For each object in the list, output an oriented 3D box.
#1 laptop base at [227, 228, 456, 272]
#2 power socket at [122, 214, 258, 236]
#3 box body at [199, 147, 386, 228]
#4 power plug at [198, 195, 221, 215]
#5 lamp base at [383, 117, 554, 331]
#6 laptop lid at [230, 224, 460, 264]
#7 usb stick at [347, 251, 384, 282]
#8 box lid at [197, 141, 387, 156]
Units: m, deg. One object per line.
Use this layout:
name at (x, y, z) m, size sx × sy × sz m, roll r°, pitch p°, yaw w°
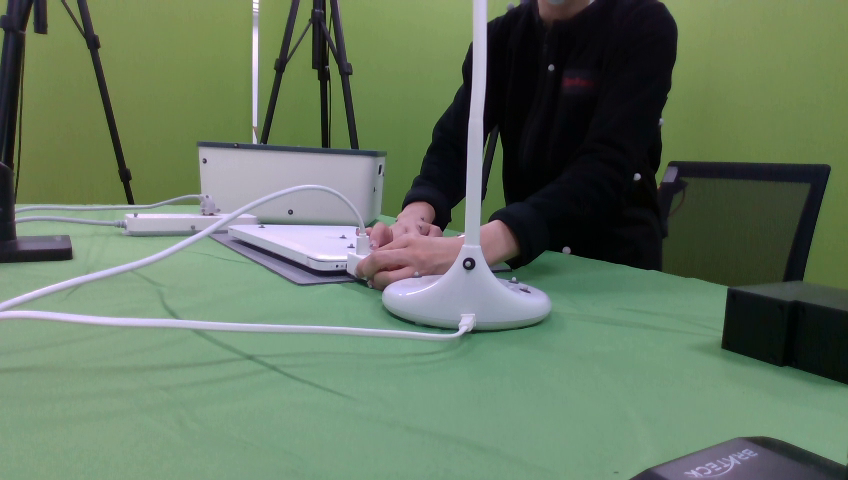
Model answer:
laptop base at (-0.122, 0.012, 0.889) m, size 0.237 × 0.023 × 0.352 m, roll 2°, pitch 6°, yaw -35°
power socket at (-0.399, -0.028, 1.049) m, size 0.228 × 0.032 × 0.072 m, roll -3°, pitch 8°, yaw -34°
box body at (-0.277, -0.124, 1.335) m, size 0.364 × 0.160 × 0.254 m, roll 3°, pitch 7°, yaw 1°
power plug at (-0.387, -0.055, 1.089) m, size 0.035 × 0.052 × 0.072 m, roll -1°, pitch 6°, yaw -22°
lamp base at (0.045, -0.019, 0.547) m, size 0.161 × 0.180 × 0.179 m, roll 2°, pitch 10°, yaw -4°
laptop lid at (-0.119, 0.001, 0.889) m, size 0.243 × 0.013 × 0.355 m, roll 1°, pitch 8°, yaw -33°
usb stick at (-0.070, 0.029, 0.685) m, size 0.021 × 0.027 × 0.059 m, roll -9°, pitch 12°, yaw -37°
box lid at (-0.275, -0.198, 1.325) m, size 0.372 × 0.015 × 0.263 m, roll 3°, pitch 8°, yaw 1°
